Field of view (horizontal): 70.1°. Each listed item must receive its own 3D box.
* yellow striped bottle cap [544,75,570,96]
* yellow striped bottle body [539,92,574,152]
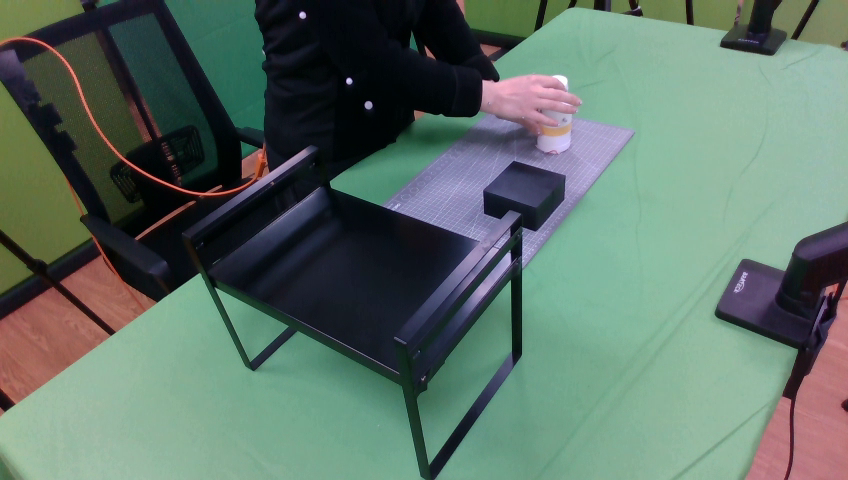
[{"bbox_3d":[0.238,-0.277,1.084,0.044,0.019,0.044,-10,45,10],"label":"yellow striped bottle cap"},{"bbox_3d":[0.246,-0.230,1.127,0.063,0.121,0.062,-5,41,4],"label":"yellow striped bottle body"}]
